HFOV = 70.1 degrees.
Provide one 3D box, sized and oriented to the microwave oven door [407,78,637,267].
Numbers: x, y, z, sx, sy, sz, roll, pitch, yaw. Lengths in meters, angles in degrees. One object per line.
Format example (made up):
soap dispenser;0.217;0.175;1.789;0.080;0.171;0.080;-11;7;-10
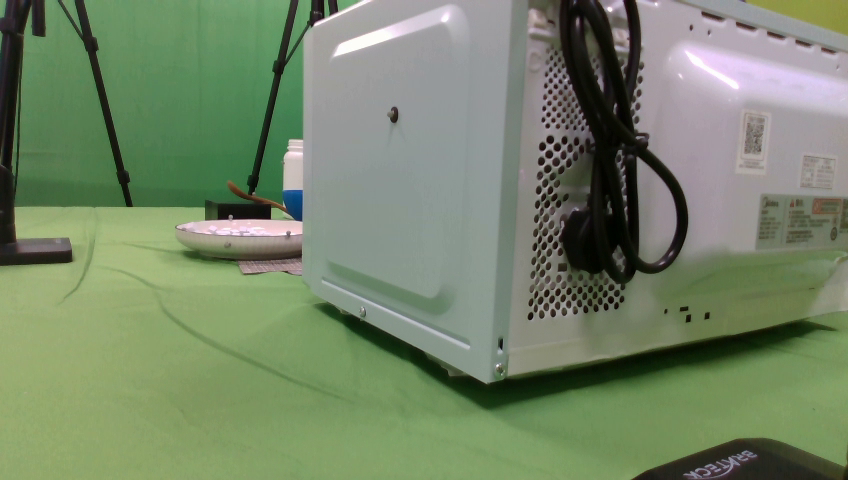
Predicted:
microwave oven door;0.123;-0.104;0.883;0.354;0.243;0.039;8;10;38

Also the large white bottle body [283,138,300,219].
large white bottle body;-0.265;-0.144;1.423;0.131;0.184;0.130;2;7;0

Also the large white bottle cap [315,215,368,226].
large white bottle cap;-0.178;-0.041;1.309;0.115;0.018;0.115;2;6;0

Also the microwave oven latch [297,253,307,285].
microwave oven latch;-0.082;0.027;0.582;0.079;0.029;0.030;-1;7;-32

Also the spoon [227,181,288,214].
spoon;-0.315;-0.074;1.235;0.195;0.021;0.041;24;-10;-37

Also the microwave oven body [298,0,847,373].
microwave oven body;0.151;-0.055;0.543;0.444;0.260;0.324;-1;7;-33

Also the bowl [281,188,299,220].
bowl;-0.191;-0.053;1.129;0.151;0.077;0.151;3;8;0

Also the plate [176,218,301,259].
plate;-0.248;-0.003;0.877;0.209;0.038;0.209;1;8;0
